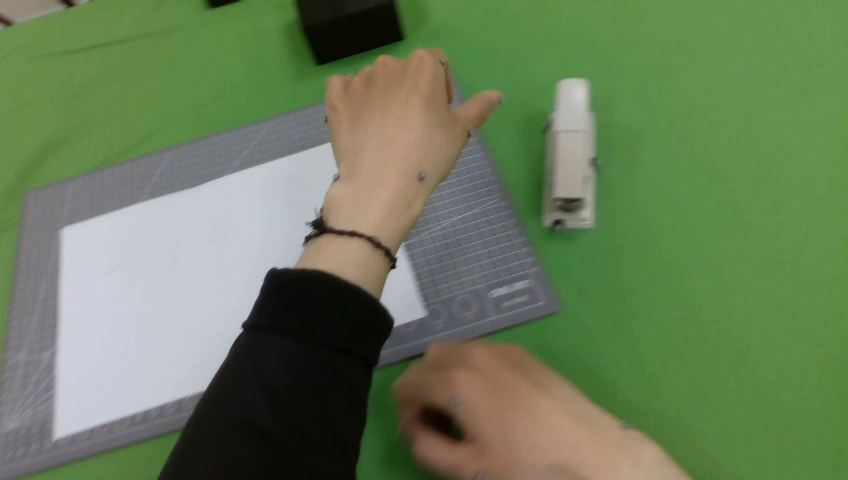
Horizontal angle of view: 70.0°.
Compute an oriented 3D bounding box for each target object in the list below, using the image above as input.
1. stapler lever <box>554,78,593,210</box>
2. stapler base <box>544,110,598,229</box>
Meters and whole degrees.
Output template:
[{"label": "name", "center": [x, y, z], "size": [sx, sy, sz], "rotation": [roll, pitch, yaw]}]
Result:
[{"label": "stapler lever", "center": [0.122, -0.081, 0.495], "size": [0.027, 0.040, 0.117], "rotation": [2, 60, 15]}, {"label": "stapler base", "center": [0.127, -0.069, 0.517], "size": [0.041, 0.025, 0.129], "rotation": [2, 60, 15]}]
